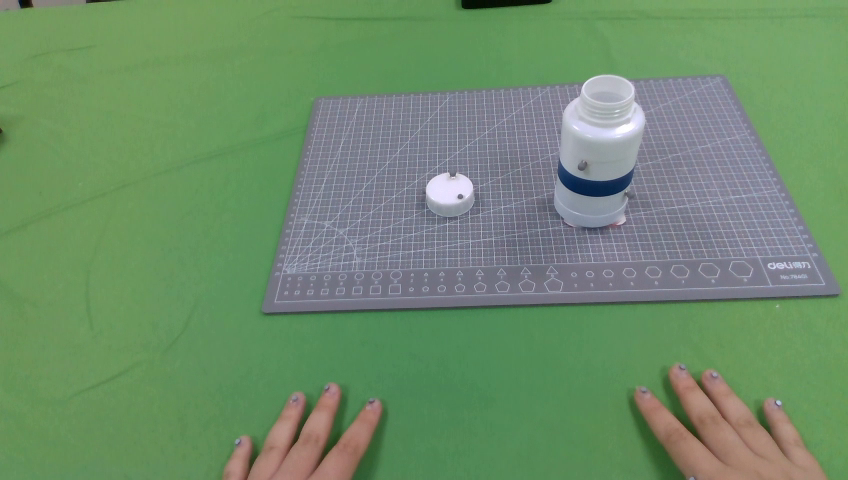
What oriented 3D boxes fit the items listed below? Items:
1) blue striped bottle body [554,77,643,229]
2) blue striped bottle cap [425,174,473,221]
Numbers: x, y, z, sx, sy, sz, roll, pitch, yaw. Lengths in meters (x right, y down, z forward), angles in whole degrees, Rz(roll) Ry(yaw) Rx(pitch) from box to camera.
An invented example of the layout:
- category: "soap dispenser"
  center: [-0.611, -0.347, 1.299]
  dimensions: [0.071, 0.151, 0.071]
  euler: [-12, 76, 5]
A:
- category: "blue striped bottle body"
  center: [0.142, -0.071, 0.496]
  dimensions: [0.063, 0.122, 0.062]
  euler: [-3, 48, 4]
- category: "blue striped bottle cap"
  center: [0.023, -0.039, 0.553]
  dimensions: [0.044, 0.021, 0.044]
  euler: [-2, 46, 3]
